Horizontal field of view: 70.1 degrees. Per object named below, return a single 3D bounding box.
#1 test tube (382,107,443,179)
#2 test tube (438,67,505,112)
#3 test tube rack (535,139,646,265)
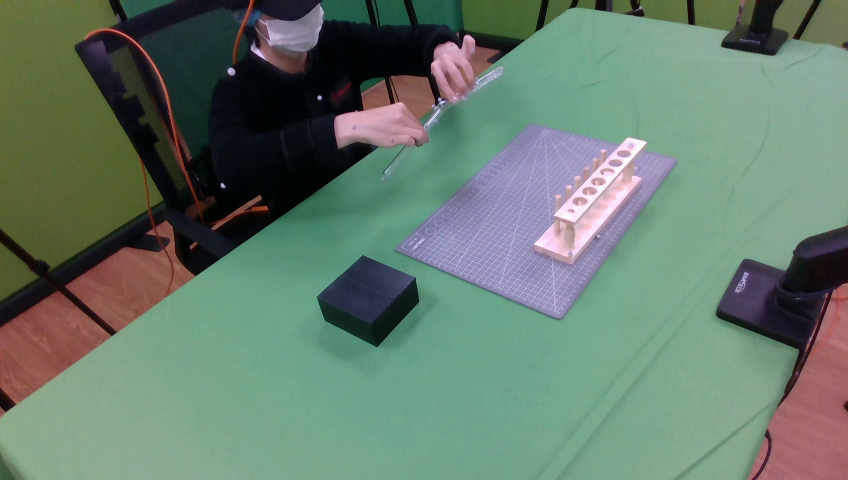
[{"bbox_3d":[-0.020,-0.162,1.017,0.150,0.017,0.017,-50,47,2],"label":"test tube"},{"bbox_3d":[0.083,-0.260,1.037,0.151,0.017,0.017,-36,47,-21],"label":"test tube"},{"bbox_3d":[0.269,-0.071,0.964,0.066,0.085,0.243,23,49,32],"label":"test tube rack"}]
